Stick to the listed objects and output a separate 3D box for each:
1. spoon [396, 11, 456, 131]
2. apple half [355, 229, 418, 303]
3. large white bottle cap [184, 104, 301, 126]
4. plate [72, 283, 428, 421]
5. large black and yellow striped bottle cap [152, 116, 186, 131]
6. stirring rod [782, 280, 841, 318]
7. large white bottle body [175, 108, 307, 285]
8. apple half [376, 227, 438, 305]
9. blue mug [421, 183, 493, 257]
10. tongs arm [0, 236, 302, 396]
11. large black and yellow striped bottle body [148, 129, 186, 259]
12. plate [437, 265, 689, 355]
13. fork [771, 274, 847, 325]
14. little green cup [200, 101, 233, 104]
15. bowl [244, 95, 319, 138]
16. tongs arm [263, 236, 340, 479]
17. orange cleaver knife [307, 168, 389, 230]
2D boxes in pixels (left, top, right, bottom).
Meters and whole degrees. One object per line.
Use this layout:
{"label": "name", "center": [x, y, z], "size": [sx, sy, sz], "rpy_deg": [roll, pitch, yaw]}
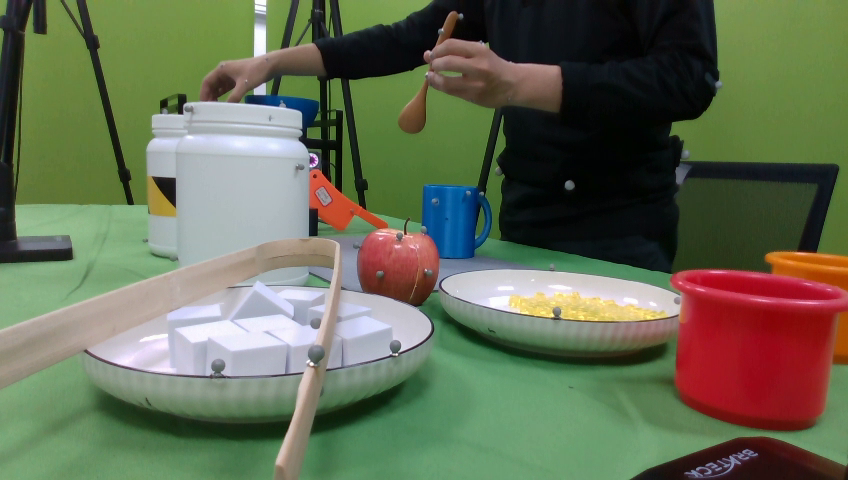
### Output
{"label": "spoon", "center": [0.004, -0.230, 0.843], "size": [0.042, 0.193, 0.021], "rpy_deg": [21, 37, -5]}
{"label": "apple half", "center": [-0.043, 0.027, 0.564], "size": [0.081, 0.081, 0.033], "rpy_deg": [9, 5, 42]}
{"label": "large white bottle cap", "center": [-0.184, -0.126, 0.618], "size": [0.115, 0.018, 0.115], "rpy_deg": [2, 8, 0]}
{"label": "plate", "center": [-0.102, 0.066, 0.381], "size": [0.208, 0.039, 0.207], "rpy_deg": [2, 7, 0]}
{"label": "large black and yellow striped bottle cap", "center": [-0.309, -0.155, 0.826], "size": [0.115, 0.019, 0.115], "rpy_deg": [3, 6, 0]}
{"label": "stirring rod", "center": [0.344, 0.019, 0.461], "size": [0.014, 0.006, 0.176], "rpy_deg": [-13, -27, -30]}
{"label": "large white bottle body", "center": [-0.188, -0.042, 0.630], "size": [0.131, 0.184, 0.130], "rpy_deg": [2, 8, 0]}
{"label": "apple half", "center": [-0.017, 0.026, 0.593], "size": [0.080, 0.074, 0.053], "rpy_deg": [4, 2, 43]}
{"label": "blue mug", "center": [0.052, -0.032, 0.912], "size": [0.117, 0.106, 0.082], "rpy_deg": [-1, 8, -24]}
{"label": "tongs arm", "center": [-0.158, 0.039, 0.351], "size": [0.028, 0.028, 0.388], "rpy_deg": [-3, 8, 11]}
{"label": "large black and yellow striped bottle body", "center": [-0.310, -0.073, 0.838], "size": [0.131, 0.184, 0.130], "rpy_deg": [2, 8, 0]}
{"label": "plate", "center": [0.114, 0.057, 0.517], "size": [0.209, 0.038, 0.209], "rpy_deg": [3, 8, 0]}
{"label": "fork", "center": [0.332, 0.018, 0.443], "size": [0.028, 0.018, 0.207], "rpy_deg": [-1, -36, -15]}
{"label": "little green cup", "center": [-0.391, -0.242, 1.144], "size": [0.061, 0.038, 0.061], "rpy_deg": [1, 15, 0]}
{"label": "bowl", "center": [-0.293, -0.251, 1.249], "size": [0.151, 0.077, 0.151], "rpy_deg": [2, 8, 0]}
{"label": "tongs arm", "center": [-0.074, 0.039, 0.349], "size": [0.051, 0.026, 0.384], "rpy_deg": [-2, 10, -3]}
{"label": "orange cleaver knife", "center": [-0.158, -0.060, 1.166], "size": [0.212, 0.077, 0.012], "rpy_deg": [34, -12, -32]}
